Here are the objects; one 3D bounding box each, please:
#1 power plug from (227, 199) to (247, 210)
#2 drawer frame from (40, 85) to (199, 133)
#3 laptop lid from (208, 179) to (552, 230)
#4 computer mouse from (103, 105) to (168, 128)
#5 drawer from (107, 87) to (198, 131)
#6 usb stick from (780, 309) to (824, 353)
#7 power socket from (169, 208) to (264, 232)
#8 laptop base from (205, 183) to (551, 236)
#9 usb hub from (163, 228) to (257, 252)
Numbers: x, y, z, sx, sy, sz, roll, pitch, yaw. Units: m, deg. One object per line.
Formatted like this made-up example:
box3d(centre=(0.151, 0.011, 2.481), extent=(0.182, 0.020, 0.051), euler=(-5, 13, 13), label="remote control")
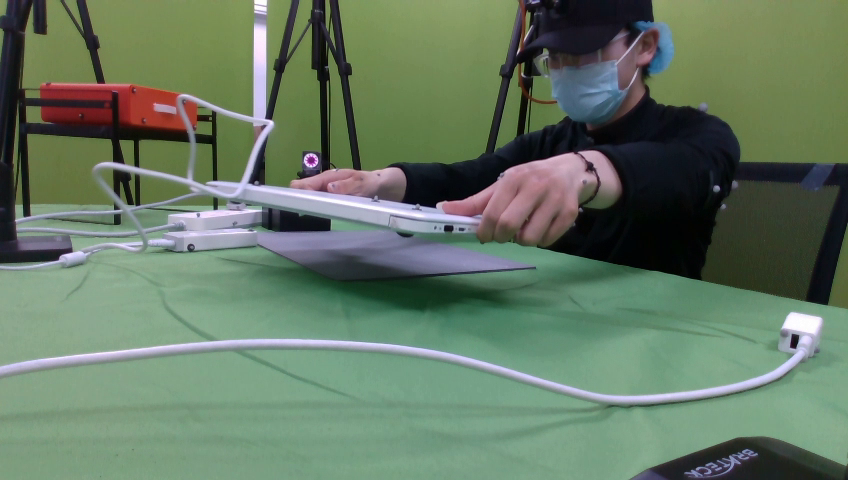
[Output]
box3d(centre=(-0.386, -0.071, 1.204), extent=(0.072, 0.052, 0.035), euler=(8, 11, 25), label="power plug")
box3d(centre=(-0.612, -0.266, 1.235), extent=(0.213, 0.082, 0.202), euler=(3, 8, 15), label="drawer frame")
box3d(centre=(-0.058, -0.043, 0.703), extent=(0.355, 0.013, 0.243), euler=(11, 6, 42), label="laptop lid")
box3d(centre=(-0.581, -0.249, 1.223), extent=(0.118, 0.041, 0.062), euler=(2, 3, -39), label="computer mouse")
box3d(centre=(-0.609, -0.265, 1.235), extent=(0.211, 0.073, 0.195), euler=(4, 8, 16), label="drawer")
box3d(centre=(0.311, 0.072, 0.496), extent=(0.027, 0.021, 0.059), euler=(8, 15, 34), label="usb stick")
box3d(centre=(-0.381, -0.038, 1.128), extent=(0.072, 0.032, 0.227), euler=(3, 8, 17), label="power socket")
box3d(centre=(-0.061, -0.031, 0.702), extent=(0.352, 0.023, 0.237), euler=(11, 5, 40), label="laptop base")
box3d(centre=(-0.313, -0.001, 0.894), extent=(0.049, 0.025, 0.126), euler=(9, 10, 41), label="usb hub")
